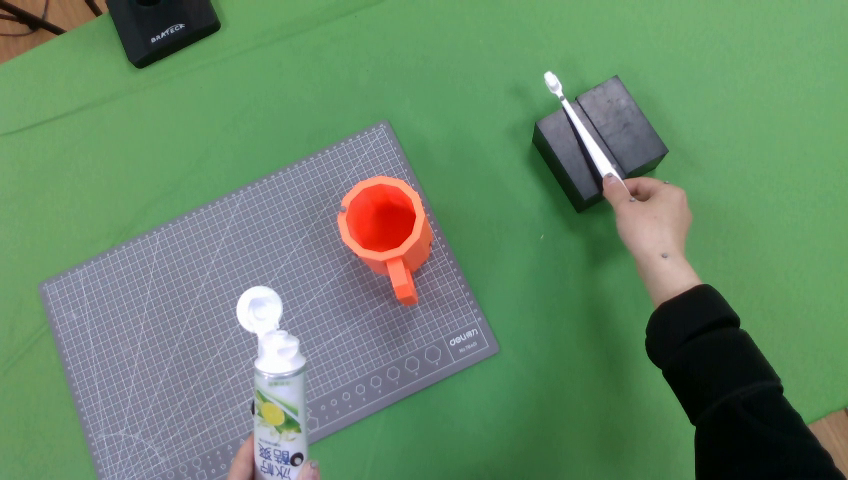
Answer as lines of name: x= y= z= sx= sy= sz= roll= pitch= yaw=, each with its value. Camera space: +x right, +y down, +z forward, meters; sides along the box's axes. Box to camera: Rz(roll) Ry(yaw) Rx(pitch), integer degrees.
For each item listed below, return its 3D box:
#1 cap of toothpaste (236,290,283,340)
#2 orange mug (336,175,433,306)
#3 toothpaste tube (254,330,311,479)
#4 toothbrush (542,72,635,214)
cap of toothpaste: x=-0.117 y=0.054 z=0.436 sx=0.037 sy=0.011 sz=0.037 roll=8 pitch=78 yaw=-39
orange mug: x=-0.033 y=0.005 z=0.628 sx=0.083 sy=0.101 sz=0.125 roll=-18 pitch=72 yaw=2
toothpaste tube: x=-0.105 y=0.143 z=0.442 sx=0.055 sy=0.034 sz=0.165 roll=8 pitch=105 yaw=25
toothbrush: x=0.167 y=-0.103 z=0.621 sx=0.014 sy=0.017 sz=0.180 roll=-31 pitch=68 yaw=14
